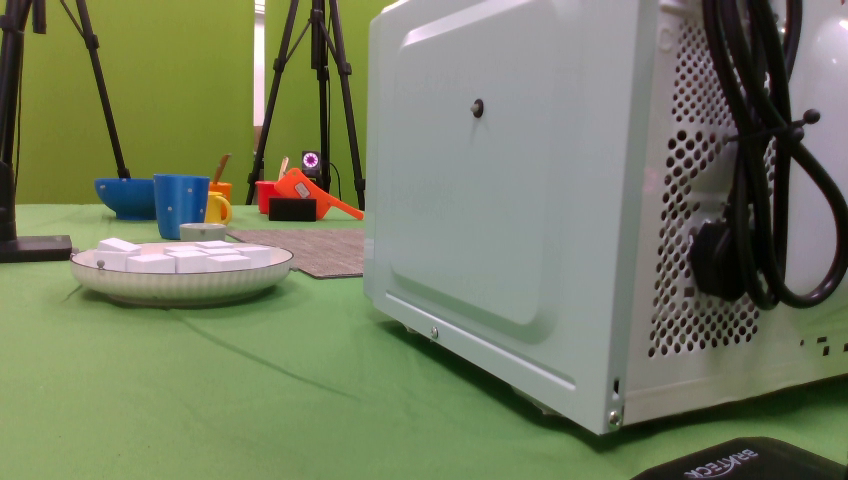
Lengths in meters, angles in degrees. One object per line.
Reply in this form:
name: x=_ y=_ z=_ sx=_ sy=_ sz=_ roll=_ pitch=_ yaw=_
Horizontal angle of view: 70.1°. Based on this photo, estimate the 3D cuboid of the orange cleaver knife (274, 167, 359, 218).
orange cleaver knife: x=-0.238 y=-0.091 z=1.381 sx=0.212 sy=0.077 sz=0.012 roll=31 pitch=0 yaw=-19

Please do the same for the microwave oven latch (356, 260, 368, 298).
microwave oven latch: x=-0.020 y=0.033 z=0.530 sx=0.079 sy=0.029 sz=0.030 roll=0 pitch=7 yaw=-26

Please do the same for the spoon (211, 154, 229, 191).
spoon: x=-0.431 y=-0.115 z=1.253 sx=0.042 sy=0.193 sz=0.021 roll=-3 pitch=54 yaw=-33

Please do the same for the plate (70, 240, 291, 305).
plate: x=-0.242 y=0.031 z=0.618 sx=0.208 sy=0.039 sz=0.207 roll=2 pitch=8 yaw=0

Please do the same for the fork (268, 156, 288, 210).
fork: x=-0.360 y=-0.144 z=1.508 sx=0.028 sy=0.018 sz=0.207 roll=1 pitch=49 yaw=0

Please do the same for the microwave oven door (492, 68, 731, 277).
microwave oven door: x=0.232 y=-0.097 z=0.836 sx=0.039 sy=0.243 sz=0.354 roll=-3 pitch=9 yaw=-36

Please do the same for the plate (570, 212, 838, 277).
plate: x=0.230 y=0.001 z=0.519 sx=0.209 sy=0.038 sz=0.209 roll=2 pitch=7 yaw=0

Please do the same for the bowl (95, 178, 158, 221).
bowl: x=-0.576 y=-0.081 z=1.217 sx=0.151 sy=0.077 sz=0.151 roll=3 pitch=8 yaw=0

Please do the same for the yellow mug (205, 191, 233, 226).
yellow mug: x=-0.415 y=-0.057 z=1.132 sx=0.130 sy=0.064 sz=0.100 roll=5 pitch=8 yaw=16

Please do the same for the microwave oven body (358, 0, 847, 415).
microwave oven body: x=0.210 y=-0.047 z=0.475 sx=0.444 sy=0.260 sz=0.324 roll=-1 pitch=7 yaw=-28

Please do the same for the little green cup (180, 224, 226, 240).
little green cup: x=-0.309 y=-0.001 z=0.846 sx=0.061 sy=0.038 sz=0.061 roll=2 pitch=8 yaw=0

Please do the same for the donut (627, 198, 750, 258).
donut: x=0.225 y=-0.010 z=0.519 sx=0.099 sy=0.048 sz=0.099 roll=4 pitch=8 yaw=0

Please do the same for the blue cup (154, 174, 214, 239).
blue cup: x=-0.391 y=-0.053 z=0.978 sx=0.093 sy=0.100 sz=0.092 roll=4 pitch=6 yaw=0
